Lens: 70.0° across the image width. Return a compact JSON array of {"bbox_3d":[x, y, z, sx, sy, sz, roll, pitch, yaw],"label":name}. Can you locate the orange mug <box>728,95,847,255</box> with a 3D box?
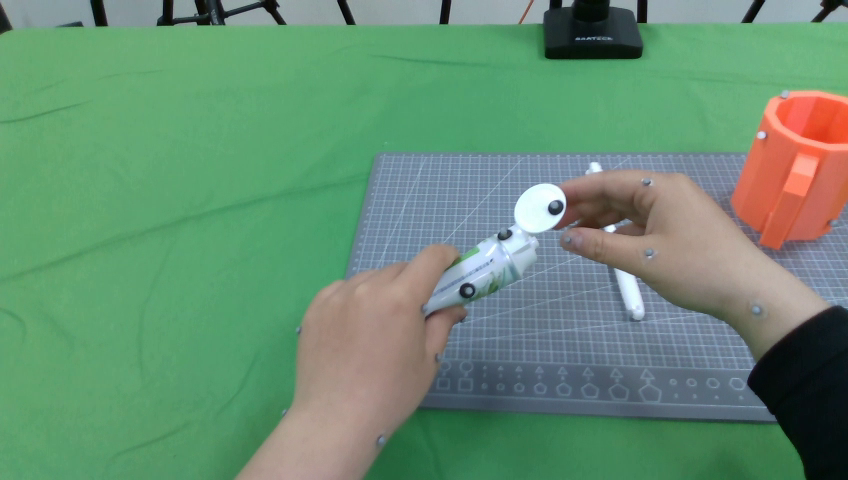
[{"bbox_3d":[0.307,-0.049,0.502,0.083,0.102,0.126,22,46,25],"label":"orange mug"}]

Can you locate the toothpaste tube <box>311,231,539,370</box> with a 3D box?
[{"bbox_3d":[0.004,0.044,0.400,0.165,0.055,0.034,-31,69,1],"label":"toothpaste tube"}]

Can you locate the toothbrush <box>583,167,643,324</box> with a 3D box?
[{"bbox_3d":[0.162,-0.003,0.525,0.014,0.017,0.180,5,45,-7],"label":"toothbrush"}]

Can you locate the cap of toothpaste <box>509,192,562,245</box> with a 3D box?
[{"bbox_3d":[0.072,-0.013,0.384,0.037,0.011,0.037,-20,53,29],"label":"cap of toothpaste"}]
